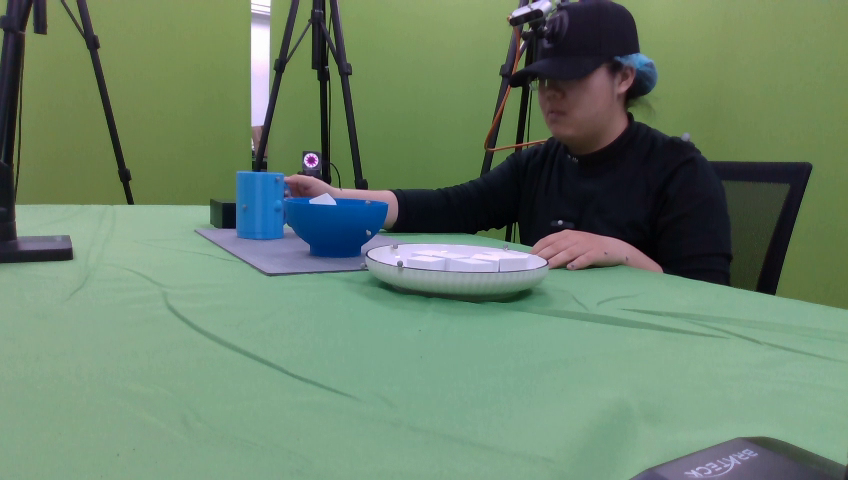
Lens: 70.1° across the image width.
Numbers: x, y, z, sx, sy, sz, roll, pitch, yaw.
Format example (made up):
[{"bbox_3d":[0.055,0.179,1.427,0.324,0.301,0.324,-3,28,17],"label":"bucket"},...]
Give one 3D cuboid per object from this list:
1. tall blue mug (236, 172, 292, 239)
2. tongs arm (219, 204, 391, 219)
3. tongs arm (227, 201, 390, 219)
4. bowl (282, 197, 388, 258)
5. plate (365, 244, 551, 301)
[{"bbox_3d":[-0.273,-0.061,1.026,0.078,0.108,0.107,2,7,-1],"label":"tall blue mug"},{"bbox_3d":[-0.258,-0.065,1.367,0.386,0.026,0.050,1,3,-17],"label":"tongs arm"},{"bbox_3d":[-0.275,-0.072,1.446,0.388,0.027,0.028,2,0,-4],"label":"tongs arm"},{"bbox_3d":[-0.127,-0.018,0.868,0.151,0.077,0.151,2,7,0],"label":"bowl"},{"bbox_3d":[0.038,0.035,0.685,0.209,0.038,0.209,2,7,0],"label":"plate"}]
